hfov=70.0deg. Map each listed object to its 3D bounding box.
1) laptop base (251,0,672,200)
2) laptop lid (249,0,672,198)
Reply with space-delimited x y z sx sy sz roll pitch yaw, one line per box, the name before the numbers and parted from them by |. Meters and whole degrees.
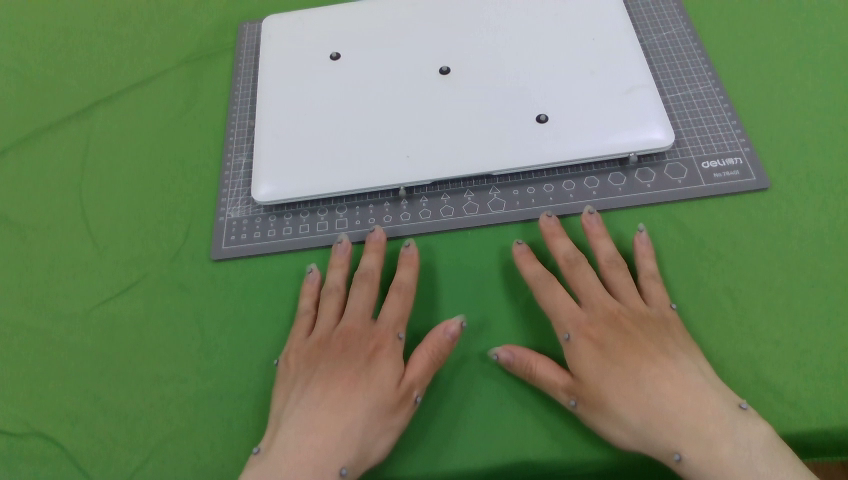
laptop base | 0.020 -0.152 0.560 0.354 0.023 0.233 -7 62 2
laptop lid | 0.019 -0.156 0.549 0.357 0.013 0.239 -6 60 3
